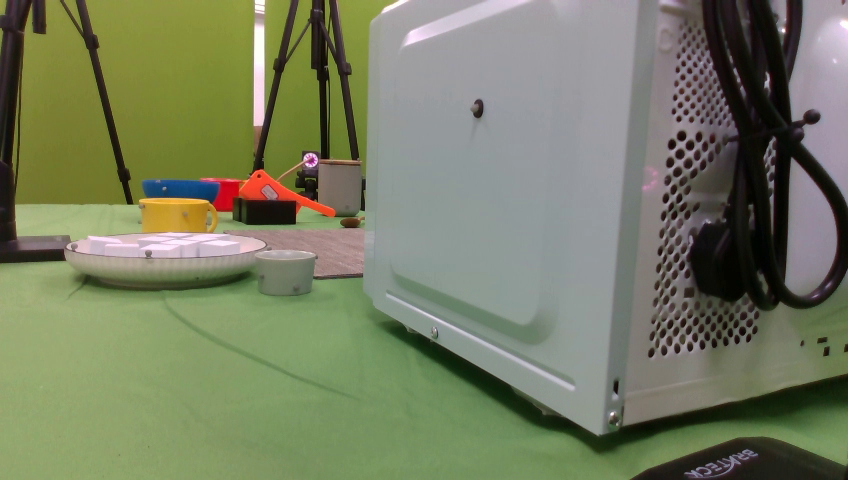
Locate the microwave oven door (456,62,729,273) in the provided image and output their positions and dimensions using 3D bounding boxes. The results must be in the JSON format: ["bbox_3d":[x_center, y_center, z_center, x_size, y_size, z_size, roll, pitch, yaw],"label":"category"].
[{"bbox_3d":[0.199,-0.099,0.800,0.354,0.243,0.039,7,10,37],"label":"microwave oven door"}]

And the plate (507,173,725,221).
[{"bbox_3d":[0.187,-0.043,0.609,0.209,0.038,0.209,4,5,0],"label":"plate"}]

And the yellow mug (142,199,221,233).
[{"bbox_3d":[-0.373,-0.030,0.948,0.099,0.064,0.131,6,8,30],"label":"yellow mug"}]

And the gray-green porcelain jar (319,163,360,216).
[{"bbox_3d":[-0.204,-0.126,1.490,0.106,0.126,0.106,2,8,0],"label":"gray-green porcelain jar"}]

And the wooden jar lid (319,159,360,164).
[{"bbox_3d":[-0.203,-0.189,1.482,0.108,0.020,0.108,2,10,0],"label":"wooden jar lid"}]

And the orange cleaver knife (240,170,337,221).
[{"bbox_3d":[-0.287,-0.081,1.299,0.212,0.077,0.012,25,-2,-31],"label":"orange cleaver knife"}]

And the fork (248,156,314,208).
[{"bbox_3d":[-0.360,-0.147,1.523,0.207,0.019,0.028,-43,18,-6],"label":"fork"}]

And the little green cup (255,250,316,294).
[{"bbox_3d":[-0.144,0.032,0.626,0.061,0.038,0.061,4,6,0],"label":"little green cup"}]

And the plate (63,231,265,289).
[{"bbox_3d":[-0.288,0.021,0.687,0.208,0.039,0.207,2,8,0],"label":"plate"}]

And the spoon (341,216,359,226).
[{"bbox_3d":[-0.132,-0.048,1.305,0.041,0.021,0.194,-14,4,14],"label":"spoon"}]

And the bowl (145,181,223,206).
[{"bbox_3d":[-0.499,-0.081,1.261,0.151,0.077,0.151,2,8,0],"label":"bowl"}]

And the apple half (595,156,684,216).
[{"bbox_3d":[0.222,-0.056,0.612,0.075,0.053,0.080,15,-3,-20],"label":"apple half"}]

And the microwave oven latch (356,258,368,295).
[{"bbox_3d":[-0.019,0.031,0.529,0.079,0.029,0.030,-1,7,-26],"label":"microwave oven latch"}]

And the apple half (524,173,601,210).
[{"bbox_3d":[0.148,-0.053,0.632,0.081,0.033,0.081,9,8,-1],"label":"apple half"}]

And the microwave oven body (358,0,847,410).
[{"bbox_3d":[0.210,-0.051,0.471,0.444,0.260,0.324,-1,7,-28],"label":"microwave oven body"}]
